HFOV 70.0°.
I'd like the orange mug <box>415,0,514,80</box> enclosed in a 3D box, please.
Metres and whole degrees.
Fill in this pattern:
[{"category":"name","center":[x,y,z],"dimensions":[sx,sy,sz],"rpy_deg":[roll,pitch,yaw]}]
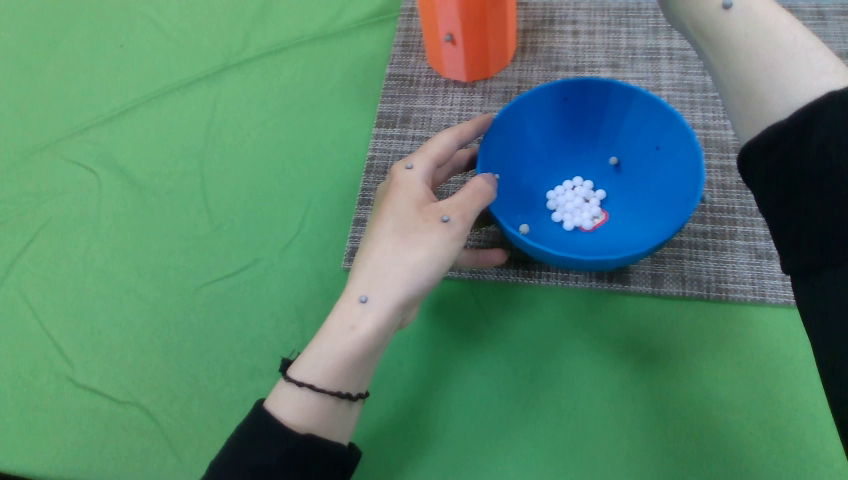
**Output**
[{"category":"orange mug","center":[0.042,-0.222,0.536],"dimensions":[0.083,0.101,0.125],"rpy_deg":[15,70,16]}]

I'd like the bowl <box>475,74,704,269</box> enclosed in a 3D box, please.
[{"category":"bowl","center":[0.114,-0.037,0.441],"dimensions":[0.151,0.077,0.150],"rpy_deg":[-3,62,6]}]
